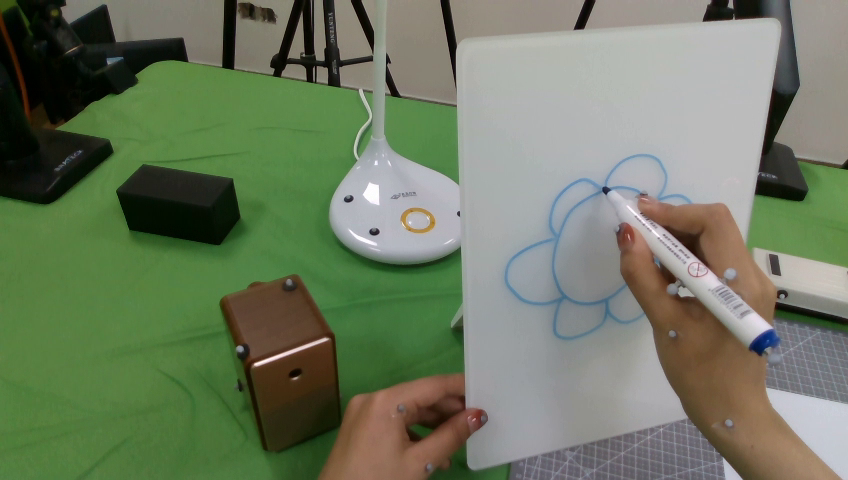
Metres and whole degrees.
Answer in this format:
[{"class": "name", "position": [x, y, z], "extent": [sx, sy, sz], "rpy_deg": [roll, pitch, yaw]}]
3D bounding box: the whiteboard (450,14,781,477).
[{"class": "whiteboard", "position": [0.112, -0.008, 0.470], "extent": [0.218, 0.307, 0.142], "rpy_deg": [-8, 23, -12]}]

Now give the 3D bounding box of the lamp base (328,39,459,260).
[{"class": "lamp base", "position": [-0.027, -0.098, 0.618], "extent": [0.161, 0.182, 0.177], "rpy_deg": [-22, 44, -27]}]

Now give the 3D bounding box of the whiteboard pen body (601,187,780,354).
[{"class": "whiteboard pen body", "position": [0.140, 0.009, 0.339], "extent": [0.017, 0.017, 0.139], "rpy_deg": [-13, 43, -19]}]

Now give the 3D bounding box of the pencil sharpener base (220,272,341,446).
[{"class": "pencil sharpener base", "position": [-0.106, 0.088, 0.451], "extent": [0.061, 0.108, 0.076], "rpy_deg": [-19, 45, -23]}]

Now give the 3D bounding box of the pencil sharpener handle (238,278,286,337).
[{"class": "pencil sharpener handle", "position": [-0.128, 0.048, 0.477], "extent": [0.036, 0.068, 0.030], "rpy_deg": [-25, 47, -17]}]

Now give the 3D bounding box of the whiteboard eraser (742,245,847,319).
[{"class": "whiteboard eraser", "position": [0.371, 0.043, 0.590], "extent": [0.112, 0.042, 0.055], "rpy_deg": [13, 40, 11]}]
